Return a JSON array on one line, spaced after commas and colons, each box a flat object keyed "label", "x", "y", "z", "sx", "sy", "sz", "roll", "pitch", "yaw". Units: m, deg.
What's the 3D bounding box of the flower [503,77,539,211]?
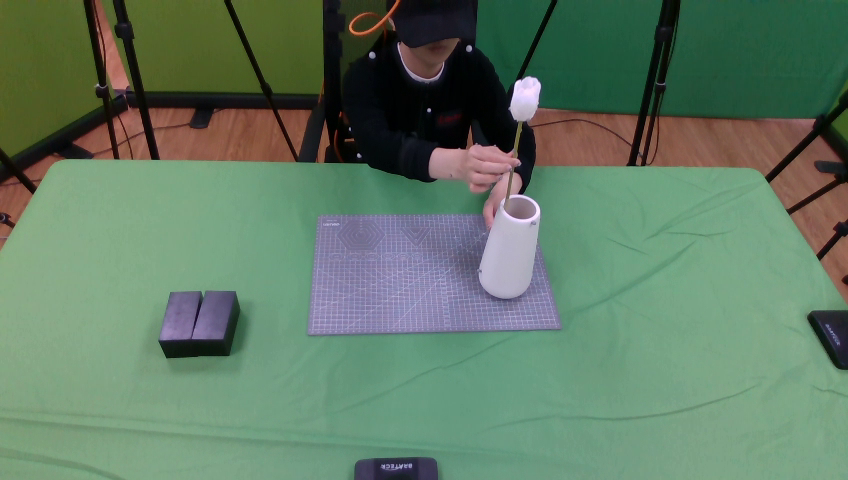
[{"label": "flower", "x": 0.134, "y": -0.095, "z": 0.954, "sx": 0.038, "sy": 0.363, "sz": 0.044, "roll": 20, "pitch": 52, "yaw": 14}]

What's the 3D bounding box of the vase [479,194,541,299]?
[{"label": "vase", "x": 0.152, "y": 0.015, "z": 1.066, "sx": 0.098, "sy": 0.201, "sz": 0.097, "roll": 1, "pitch": 47, "yaw": -1}]
